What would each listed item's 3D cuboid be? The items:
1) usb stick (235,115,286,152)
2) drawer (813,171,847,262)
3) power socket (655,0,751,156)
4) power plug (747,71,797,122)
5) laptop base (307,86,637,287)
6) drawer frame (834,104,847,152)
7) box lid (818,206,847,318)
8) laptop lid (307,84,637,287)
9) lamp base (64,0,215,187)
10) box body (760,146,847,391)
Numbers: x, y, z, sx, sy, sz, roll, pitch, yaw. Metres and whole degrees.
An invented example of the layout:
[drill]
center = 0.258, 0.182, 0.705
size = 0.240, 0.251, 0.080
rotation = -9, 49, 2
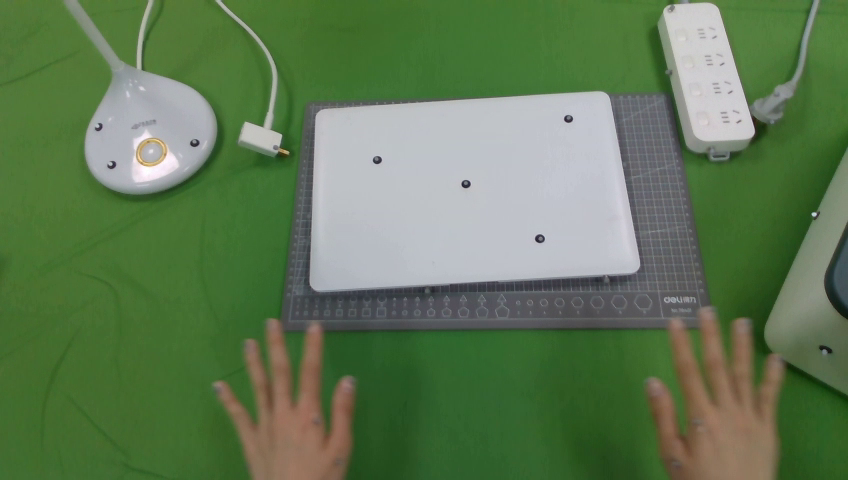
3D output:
[usb stick]
center = -0.191, -0.123, 0.717
size = 0.059, 0.021, 0.027
rotation = 21, 70, -24
[drawer]
center = 0.539, -0.044, 0.606
size = 0.193, 0.074, 0.211
rotation = 29, 76, 18
[power socket]
center = 0.334, -0.207, 0.733
size = 0.072, 0.033, 0.225
rotation = -2, 66, 1
[power plug]
center = 0.408, -0.162, 0.706
size = 0.073, 0.053, 0.035
rotation = -18, 61, -24
[laptop base]
center = 0.046, -0.065, 0.692
size = 0.354, 0.023, 0.234
rotation = -3, 69, 1
[drawer frame]
center = 0.516, -0.050, 0.562
size = 0.083, 0.212, 0.202
rotation = -29, 101, 4
[box lid]
center = 0.513, -0.036, 0.497
size = 0.262, 0.015, 0.370
rotation = 30, 72, 15
[laptop lid]
center = 0.045, -0.068, 0.680
size = 0.357, 0.013, 0.240
rotation = -2, 68, 2
[lamp base]
center = -0.346, -0.176, 0.672
size = 0.161, 0.182, 0.177
rotation = -27, 64, -9
[box body]
center = 0.516, -0.005, 0.564
size = 0.253, 0.161, 0.363
rotation = 30, 71, 15
